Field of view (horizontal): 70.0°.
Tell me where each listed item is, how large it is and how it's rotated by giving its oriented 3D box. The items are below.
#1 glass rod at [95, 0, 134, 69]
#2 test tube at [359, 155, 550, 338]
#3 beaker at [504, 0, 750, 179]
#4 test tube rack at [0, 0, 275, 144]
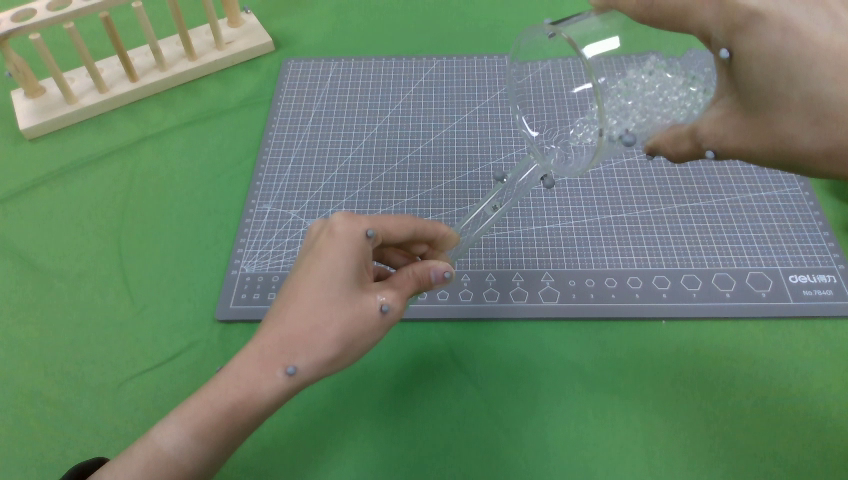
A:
[{"bbox_3d":[-0.288,-0.225,0.517,0.008,0.201,0.008,1,55,-1],"label":"glass rod"},{"bbox_3d":[0.013,0.008,0.349,0.150,0.017,0.017,-45,52,21],"label":"test tube"},{"bbox_3d":[0.102,-0.080,0.306,0.100,0.084,0.073,-23,58,-17],"label":"beaker"},{"bbox_3d":[-0.274,-0.185,0.569,0.242,0.086,0.066,-26,55,-16],"label":"test tube rack"}]
